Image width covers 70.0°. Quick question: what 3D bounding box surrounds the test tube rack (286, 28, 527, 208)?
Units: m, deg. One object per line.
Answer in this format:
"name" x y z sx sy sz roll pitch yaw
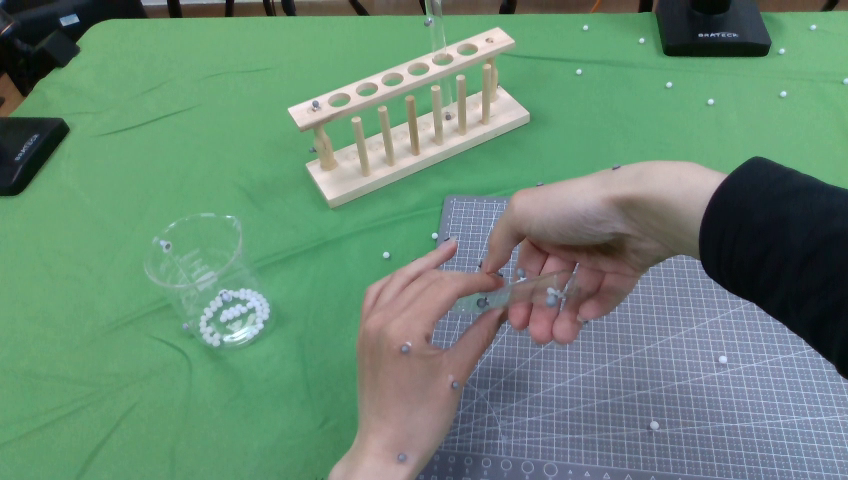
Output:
"test tube rack" -0.010 -0.130 0.632 0.242 0.086 0.066 -25 52 -14

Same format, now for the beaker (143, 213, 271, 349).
"beaker" -0.171 0.036 0.502 0.073 0.101 0.084 26 57 25

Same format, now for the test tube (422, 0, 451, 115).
"test tube" 0.013 -0.192 0.616 0.017 0.152 0.017 -5 47 6

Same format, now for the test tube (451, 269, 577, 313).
"test tube" 0.052 0.036 0.399 0.017 0.150 0.017 4 78 -20
